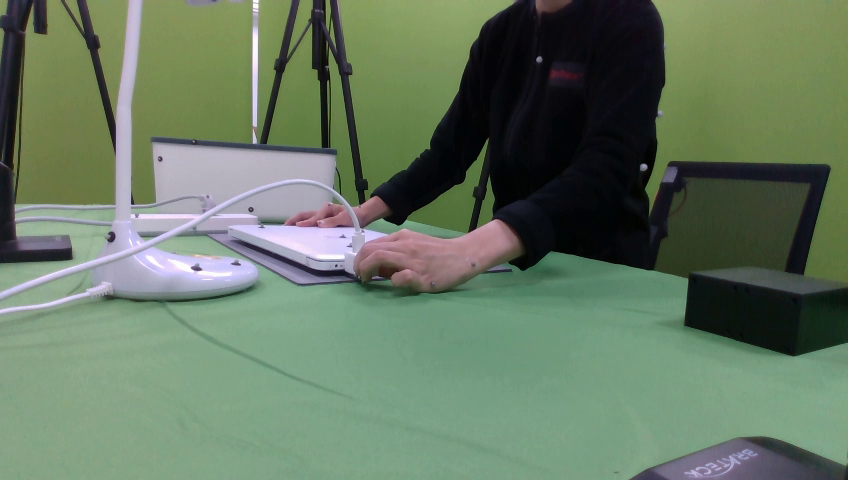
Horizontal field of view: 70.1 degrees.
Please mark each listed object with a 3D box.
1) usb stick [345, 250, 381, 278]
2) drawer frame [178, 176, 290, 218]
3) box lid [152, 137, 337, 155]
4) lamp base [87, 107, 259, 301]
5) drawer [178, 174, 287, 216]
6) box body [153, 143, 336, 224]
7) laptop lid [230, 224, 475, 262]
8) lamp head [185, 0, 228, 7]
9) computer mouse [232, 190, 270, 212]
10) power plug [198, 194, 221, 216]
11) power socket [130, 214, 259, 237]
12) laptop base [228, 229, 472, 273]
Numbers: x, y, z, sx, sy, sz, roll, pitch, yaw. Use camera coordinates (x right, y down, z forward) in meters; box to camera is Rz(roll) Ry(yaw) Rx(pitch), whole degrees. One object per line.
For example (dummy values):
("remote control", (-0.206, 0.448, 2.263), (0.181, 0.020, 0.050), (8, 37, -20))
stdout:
("usb stick", (-0.073, 0.026, 0.687), (0.021, 0.027, 0.059), (-12, 11, -36))
("drawer frame", (-0.409, -0.099, 1.340), (0.214, 0.082, 0.201), (-4, 7, -10))
("box lid", (-0.379, -0.203, 1.334), (0.372, 0.015, 0.262), (3, 7, -9))
("lamp base", (-0.254, -0.039, 0.603), (0.160, 0.180, 0.179), (5, 10, 18))
("drawer", (-0.414, -0.104, 1.342), (0.212, 0.073, 0.194), (5, 6, -11))
("box body", (-0.380, -0.130, 1.344), (0.365, 0.160, 0.253), (1, 7, -9))
("laptop lid", (-0.119, 0.001, 0.888), (0.243, 0.013, 0.355), (1, 7, -33))
("lamp head", (-0.229, -0.320, 0.628), (0.112, 0.112, 0.123), (6, -36, 26))
("computer mouse", (-0.382, -0.086, 1.343), (0.063, 0.041, 0.117), (10, 10, -4))
("power plug", (-0.385, -0.055, 1.088), (0.035, 0.052, 0.072), (-2, 7, -24))
("power socket", (-0.397, -0.027, 1.048), (0.228, 0.032, 0.072), (-3, 7, -35))
("laptop base", (-0.122, 0.012, 0.889), (0.237, 0.023, 0.352), (1, 6, -35))
